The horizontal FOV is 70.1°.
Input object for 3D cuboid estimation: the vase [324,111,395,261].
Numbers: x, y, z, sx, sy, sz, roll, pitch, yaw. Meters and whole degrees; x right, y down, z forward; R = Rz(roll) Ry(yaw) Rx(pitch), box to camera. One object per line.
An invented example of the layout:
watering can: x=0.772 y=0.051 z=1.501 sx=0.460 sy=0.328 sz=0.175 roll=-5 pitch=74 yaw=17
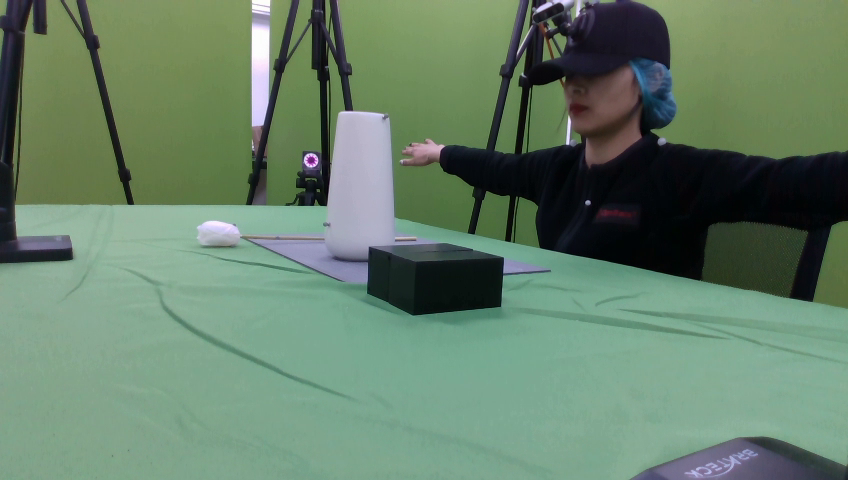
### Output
vase: x=-0.087 y=-0.074 z=0.829 sx=0.098 sy=0.200 sz=0.098 roll=2 pitch=9 yaw=0

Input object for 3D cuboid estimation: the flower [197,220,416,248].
flower: x=-0.174 y=-0.001 z=0.978 sx=0.364 sy=0.038 sz=0.044 roll=4 pitch=-31 yaw=-29
